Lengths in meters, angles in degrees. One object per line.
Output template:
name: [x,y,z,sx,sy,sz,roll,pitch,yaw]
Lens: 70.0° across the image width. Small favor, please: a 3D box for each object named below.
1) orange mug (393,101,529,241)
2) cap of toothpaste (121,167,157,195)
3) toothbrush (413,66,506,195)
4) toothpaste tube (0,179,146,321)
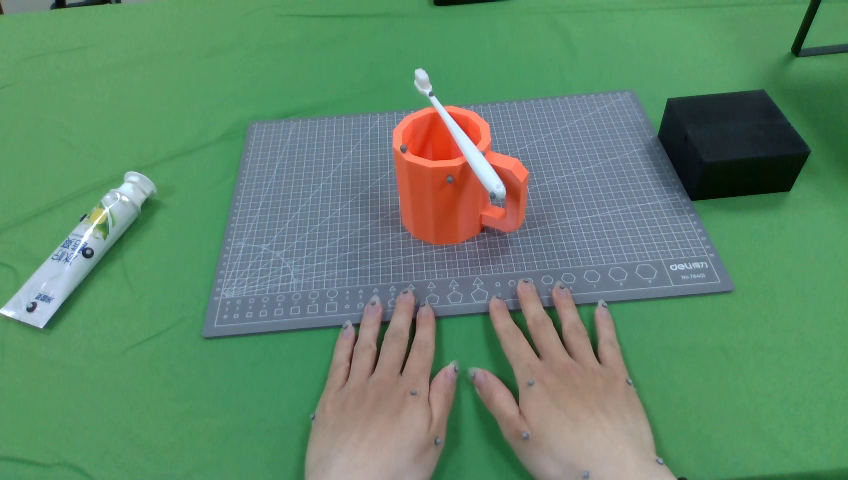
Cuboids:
orange mug: [0.033,-0.057,0.547,0.125,0.102,0.083,17,51,24]
cap of toothpaste: [-0.290,-0.058,0.615,0.037,0.038,0.011,7,47,11]
toothbrush: [0.026,-0.098,0.514,0.014,0.017,0.179,-16,49,-14]
toothpaste tube: [-0.321,0.002,0.571,0.055,0.035,0.164,10,53,22]
